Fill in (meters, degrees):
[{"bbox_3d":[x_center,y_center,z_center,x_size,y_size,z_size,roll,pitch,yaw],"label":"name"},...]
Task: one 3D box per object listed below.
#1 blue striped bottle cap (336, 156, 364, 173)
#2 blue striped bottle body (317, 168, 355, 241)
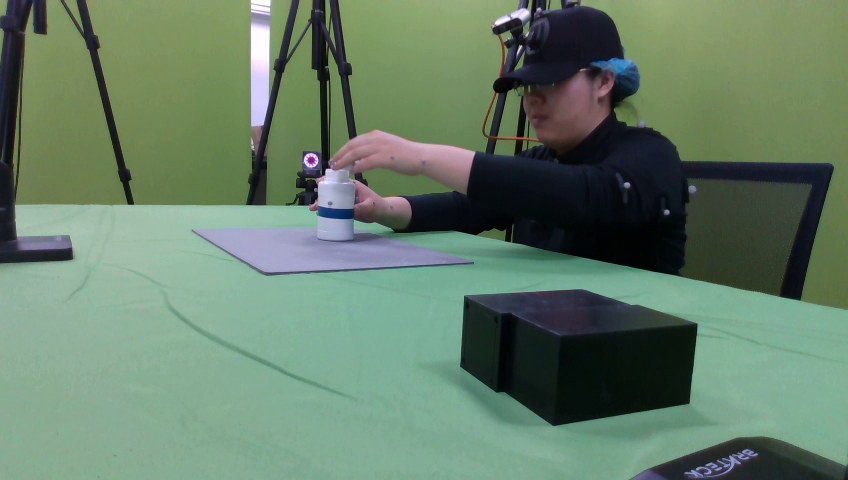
[{"bbox_3d":[-0.120,-0.123,0.985,0.044,0.020,0.044,9,12,-2],"label":"blue striped bottle cap"},{"bbox_3d":[-0.149,-0.061,1.024,0.063,0.120,0.063,3,7,0],"label":"blue striped bottle body"}]
